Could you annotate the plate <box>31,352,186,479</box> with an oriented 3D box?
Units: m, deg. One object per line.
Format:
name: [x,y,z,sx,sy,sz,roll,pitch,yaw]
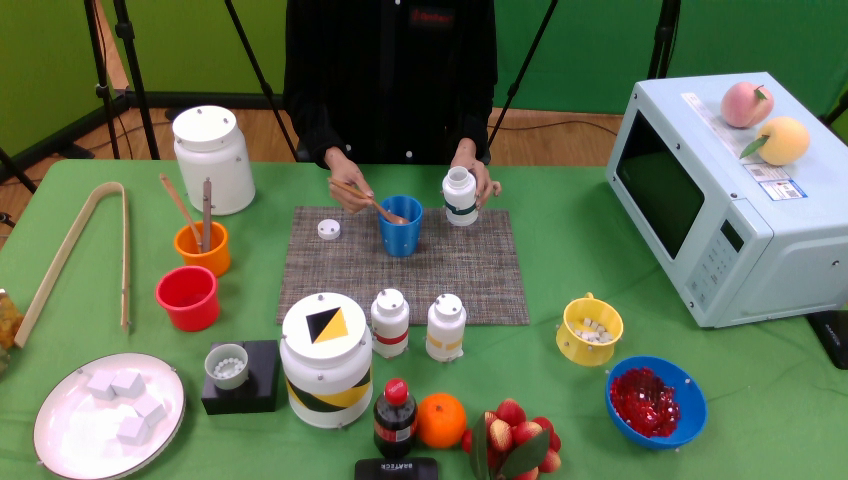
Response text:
plate: [-0.459,0.262,0.898,0.209,0.038,0.208,2,46,-2]

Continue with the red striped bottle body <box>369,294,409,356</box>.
red striped bottle body: [-0.059,0.134,0.997,0.063,0.120,0.062,5,48,-5]

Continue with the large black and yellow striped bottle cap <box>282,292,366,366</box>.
large black and yellow striped bottle cap: [-0.138,0.121,0.841,0.115,0.019,0.114,3,47,-3]

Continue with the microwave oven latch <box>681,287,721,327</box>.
microwave oven latch: [0.494,0.119,1.087,0.030,0.029,0.078,-6,46,-9]

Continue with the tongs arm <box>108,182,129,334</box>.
tongs arm: [-0.571,0.019,1.123,0.051,0.026,0.382,-10,47,-12]

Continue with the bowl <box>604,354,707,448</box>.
bowl: [0.346,0.261,0.937,0.151,0.077,0.150,2,46,-2]

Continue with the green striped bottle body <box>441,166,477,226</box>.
green striped bottle body: [0.066,-0.085,1.141,0.063,0.120,0.063,-4,54,6]

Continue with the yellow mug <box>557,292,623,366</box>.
yellow mug: [0.285,0.145,1.051,0.100,0.064,0.130,7,45,4]

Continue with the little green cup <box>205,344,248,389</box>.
little green cup: [-0.293,0.191,0.909,0.061,0.039,0.061,1,47,-1]

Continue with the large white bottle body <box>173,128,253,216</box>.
large white bottle body: [-0.416,-0.154,1.199,0.131,0.185,0.130,2,46,-2]

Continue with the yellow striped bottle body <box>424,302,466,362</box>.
yellow striped bottle body: [0.035,0.143,0.995,0.063,0.121,0.062,3,46,-2]

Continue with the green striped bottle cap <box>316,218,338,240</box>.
green striped bottle cap: [-0.193,-0.022,1.204,0.044,0.020,0.044,2,50,-2]

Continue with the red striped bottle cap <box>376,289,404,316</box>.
red striped bottle cap: [-0.054,0.098,0.958,0.044,0.018,0.044,0,48,1]

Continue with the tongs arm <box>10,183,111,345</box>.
tongs arm: [-0.658,0.027,1.109,0.028,0.028,0.385,-2,45,2]

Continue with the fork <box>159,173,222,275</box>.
fork: [-0.427,-0.029,1.103,0.028,0.018,0.207,-31,99,-30]

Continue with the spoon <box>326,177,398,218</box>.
spoon: [-0.098,-0.066,1.094,0.195,0.021,0.041,36,24,-34]

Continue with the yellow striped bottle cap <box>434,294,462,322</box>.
yellow striped bottle cap: [0.038,0.107,0.958,0.044,0.019,0.044,2,45,-2]

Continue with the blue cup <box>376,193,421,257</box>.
blue cup: [-0.048,-0.022,1.155,0.093,0.101,0.092,1,47,-1]

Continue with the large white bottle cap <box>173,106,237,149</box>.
large white bottle cap: [-0.411,-0.212,1.138,0.115,0.018,0.114,2,47,-2]

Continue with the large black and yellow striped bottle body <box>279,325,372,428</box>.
large black and yellow striped bottle body: [-0.143,0.181,0.900,0.131,0.185,0.130,2,46,-2]

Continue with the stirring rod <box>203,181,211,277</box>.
stirring rod: [-0.396,-0.021,1.108,0.014,0.006,0.176,-1,89,-2]

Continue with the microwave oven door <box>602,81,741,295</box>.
microwave oven door: [0.456,-0.107,1.162,0.039,0.245,0.353,-7,47,-11]

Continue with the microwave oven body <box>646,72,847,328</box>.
microwave oven body: [0.607,-0.089,1.164,0.326,0.261,0.438,-7,46,-10]
